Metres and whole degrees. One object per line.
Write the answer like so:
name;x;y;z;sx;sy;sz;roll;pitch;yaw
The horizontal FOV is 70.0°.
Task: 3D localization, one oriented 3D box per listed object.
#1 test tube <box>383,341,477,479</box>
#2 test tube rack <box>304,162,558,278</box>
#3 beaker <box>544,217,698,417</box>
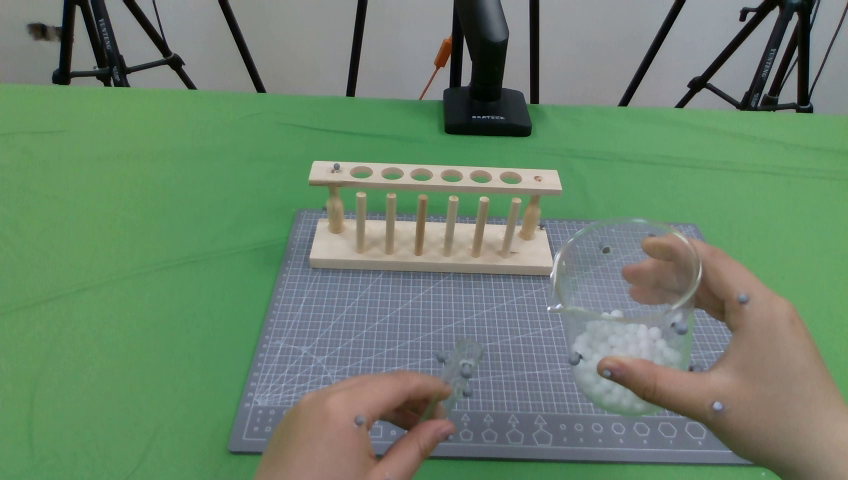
test tube;0.000;0.112;0.366;0.017;0.151;0.017;13;40;-11
test tube rack;0.006;-0.019;0.602;0.242;0.086;0.066;2;40;-2
beaker;0.112;0.050;0.349;0.084;0.101;0.073;-25;42;-7
